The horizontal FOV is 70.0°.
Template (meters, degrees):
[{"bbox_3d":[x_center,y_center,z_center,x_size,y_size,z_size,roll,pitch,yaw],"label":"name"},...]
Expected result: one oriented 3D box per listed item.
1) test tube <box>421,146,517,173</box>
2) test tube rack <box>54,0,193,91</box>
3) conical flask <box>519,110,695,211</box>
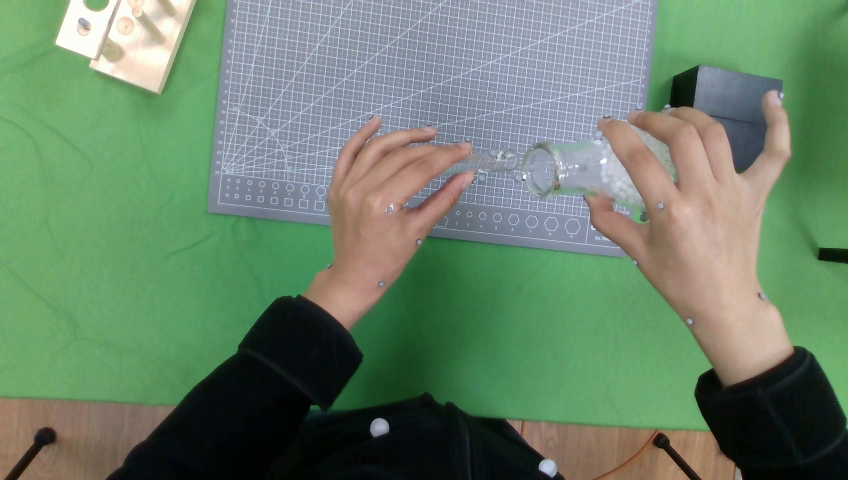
[{"bbox_3d":[0.030,-0.063,0.485,0.017,0.149,0.017,-2,95,-22],"label":"test tube"},{"bbox_3d":[-0.242,-0.269,0.548,0.067,0.085,0.242,20,89,-9],"label":"test tube rack"},{"bbox_3d":[0.126,-0.054,0.430,0.122,0.075,0.075,-7,93,-31],"label":"conical flask"}]
